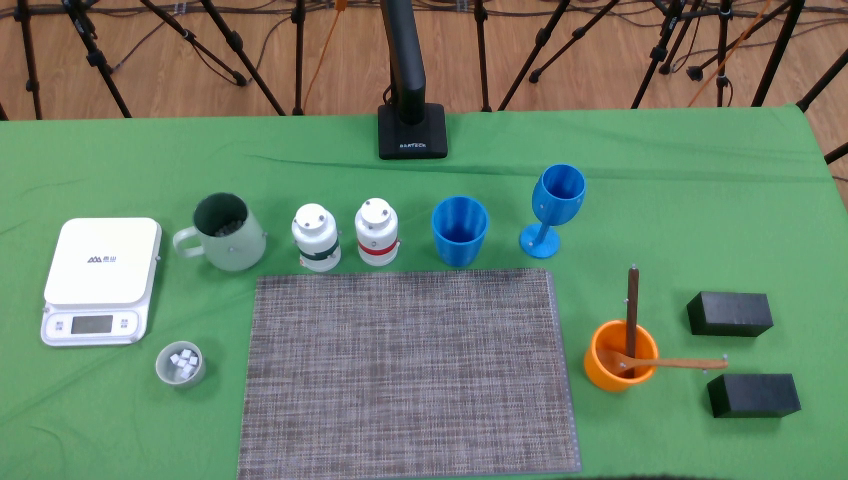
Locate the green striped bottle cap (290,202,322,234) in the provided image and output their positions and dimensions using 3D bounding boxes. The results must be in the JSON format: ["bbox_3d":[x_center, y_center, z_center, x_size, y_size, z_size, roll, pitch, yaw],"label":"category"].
[{"bbox_3d":[-0.167,-0.032,0.856,0.044,0.020,0.044,1,61,-2],"label":"green striped bottle cap"}]

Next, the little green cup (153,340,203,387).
[{"bbox_3d":[-0.339,0.174,0.843,0.061,0.039,0.061,2,61,-3],"label":"little green cup"}]

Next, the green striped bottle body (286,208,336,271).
[{"bbox_3d":[-0.168,-0.006,0.902,0.063,0.120,0.062,1,61,-2],"label":"green striped bottle body"}]

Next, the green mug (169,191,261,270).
[{"bbox_3d":[-0.313,-0.007,0.904,0.125,0.106,0.091,-21,65,-13],"label":"green mug"}]

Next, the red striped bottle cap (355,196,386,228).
[{"bbox_3d":[-0.076,-0.041,0.865,0.044,0.018,0.044,1,64,-2],"label":"red striped bottle cap"}]

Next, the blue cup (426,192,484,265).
[{"bbox_3d":[0.045,-0.009,0.925,0.092,0.101,0.092,0,62,0],"label":"blue cup"}]

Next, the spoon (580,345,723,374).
[{"bbox_3d":[0.301,0.162,0.820,0.022,0.193,0.041,29,63,-37],"label":"spoon"}]

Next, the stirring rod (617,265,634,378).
[{"bbox_3d":[0.280,0.117,0.843,0.014,0.177,0.006,1,21,12],"label":"stirring rod"}]

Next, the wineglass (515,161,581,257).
[{"bbox_3d":[0.182,-0.042,0.908,0.074,0.173,0.073,1,62,-1],"label":"wineglass"}]

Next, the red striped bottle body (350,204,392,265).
[{"bbox_3d":[-0.079,-0.015,0.911,0.063,0.120,0.062,2,62,-3],"label":"red striped bottle body"}]

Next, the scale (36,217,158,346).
[{"bbox_3d":[-0.485,0.057,0.902,0.149,0.032,0.199,-1,63,-3],"label":"scale"}]
